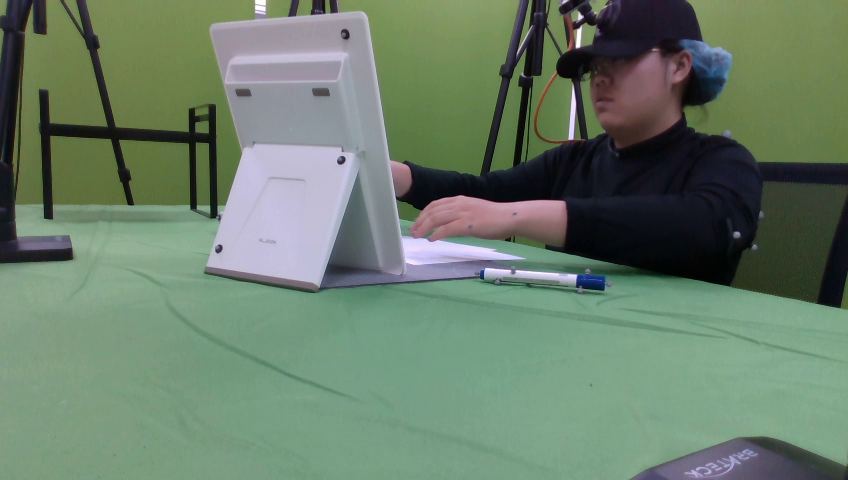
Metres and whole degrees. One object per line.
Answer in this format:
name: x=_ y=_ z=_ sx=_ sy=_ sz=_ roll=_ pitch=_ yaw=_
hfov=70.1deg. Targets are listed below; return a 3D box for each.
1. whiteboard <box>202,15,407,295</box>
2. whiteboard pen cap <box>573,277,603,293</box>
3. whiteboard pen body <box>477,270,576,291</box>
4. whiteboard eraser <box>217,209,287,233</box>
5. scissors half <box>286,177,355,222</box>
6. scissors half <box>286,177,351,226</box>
whiteboard: x=-0.167 y=-0.073 z=0.668 sx=0.216 sy=0.305 sz=0.144 roll=7 pitch=30 yaw=28
whiteboard pen cap: x=0.186 y=0.051 z=0.687 sx=0.033 sy=0.018 sz=0.018 roll=4 pitch=8 yaw=17
whiteboard pen body: x=0.131 y=0.048 z=0.706 sx=0.140 sy=0.017 sz=0.017 roll=4 pitch=7 yaw=18
whiteboard eraser: x=-0.310 y=-0.034 z=1.094 sx=0.113 sy=0.042 sz=0.055 roll=-3 pitch=11 yaw=-38
scissors half: x=-0.229 y=-0.091 z=1.337 sx=0.175 sy=0.013 sz=0.040 roll=33 pitch=14 yaw=-13
scissors half: x=-0.232 y=-0.085 z=1.317 sx=0.175 sy=0.013 sz=0.040 roll=37 pitch=19 yaw=5
